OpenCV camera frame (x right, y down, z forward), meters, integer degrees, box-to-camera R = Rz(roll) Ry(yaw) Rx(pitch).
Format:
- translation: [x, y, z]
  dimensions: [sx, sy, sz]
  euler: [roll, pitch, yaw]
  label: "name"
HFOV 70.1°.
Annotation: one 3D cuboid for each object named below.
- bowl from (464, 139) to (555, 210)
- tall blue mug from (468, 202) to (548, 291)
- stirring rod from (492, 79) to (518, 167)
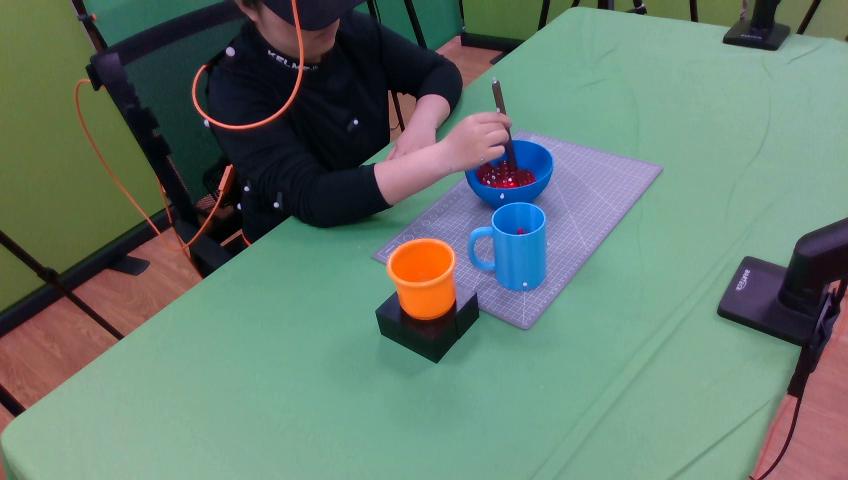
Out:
- translation: [0.145, -0.100, 1.025]
  dimensions: [0.151, 0.077, 0.150]
  euler: [-5, 40, 5]
  label: "bowl"
- translation: [0.125, 0.015, 0.869]
  dimensions: [0.107, 0.108, 0.077]
  euler: [-21, 42, -14]
  label: "tall blue mug"
- translation: [0.133, -0.186, 0.985]
  dimensions: [0.014, 0.177, 0.005]
  euler: [-41, 48, -17]
  label: "stirring rod"
